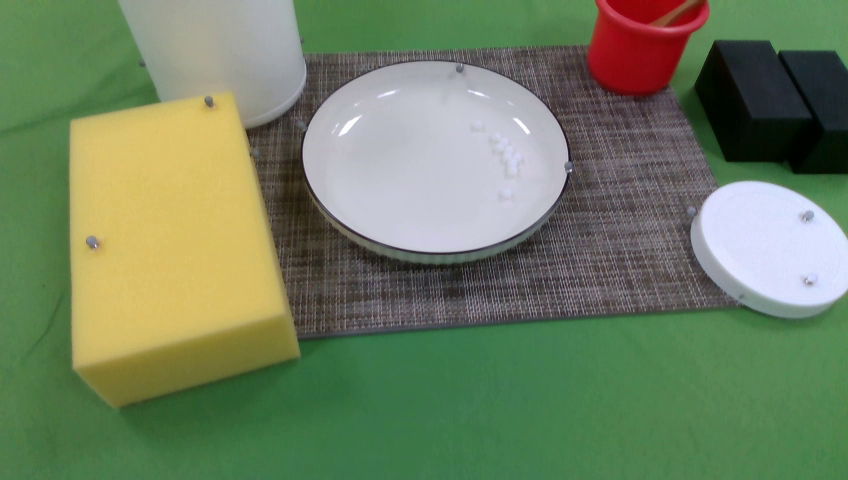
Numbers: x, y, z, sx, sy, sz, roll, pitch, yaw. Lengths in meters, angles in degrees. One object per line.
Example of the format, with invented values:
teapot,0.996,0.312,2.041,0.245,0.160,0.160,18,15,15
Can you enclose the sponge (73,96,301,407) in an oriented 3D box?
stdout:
sponge,-0.167,-0.003,0.420,0.118,0.061,0.204,-15,55,-13

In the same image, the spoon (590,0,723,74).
spoon,0.234,-0.196,0.523,0.193,0.022,0.041,-26,43,35

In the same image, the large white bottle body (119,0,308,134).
large white bottle body,-0.169,-0.191,0.479,0.130,0.186,0.129,1,53,-1

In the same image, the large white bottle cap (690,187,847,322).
large white bottle cap,0.259,0.008,0.454,0.115,0.018,0.113,3,54,-3

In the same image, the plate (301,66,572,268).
plate,0.010,-0.059,0.480,0.209,0.038,0.207,1,53,-1
